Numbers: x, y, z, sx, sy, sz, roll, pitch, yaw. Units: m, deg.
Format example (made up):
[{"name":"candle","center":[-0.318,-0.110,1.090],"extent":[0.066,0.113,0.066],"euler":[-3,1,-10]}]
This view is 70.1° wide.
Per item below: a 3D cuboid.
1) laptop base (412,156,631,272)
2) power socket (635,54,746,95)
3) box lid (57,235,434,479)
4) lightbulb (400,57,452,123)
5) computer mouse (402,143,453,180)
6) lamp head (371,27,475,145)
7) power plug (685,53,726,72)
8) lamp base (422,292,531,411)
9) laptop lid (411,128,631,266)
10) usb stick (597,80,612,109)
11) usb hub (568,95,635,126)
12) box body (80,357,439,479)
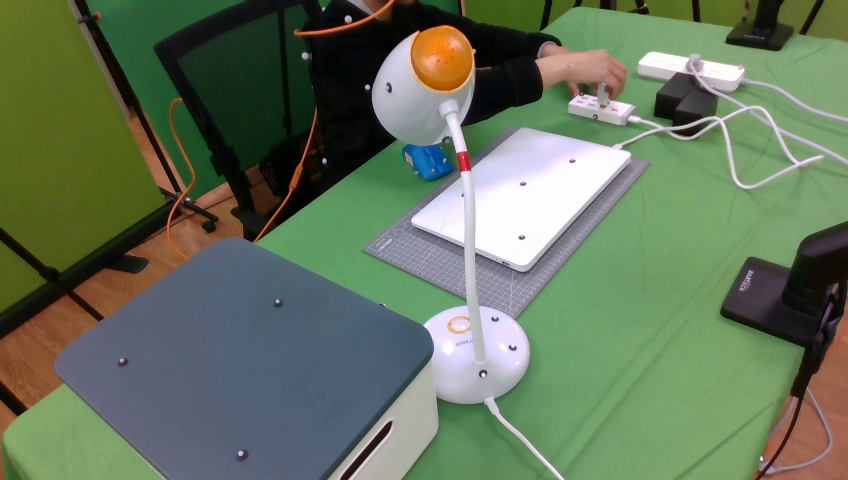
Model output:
[{"name":"laptop base","center":[0.176,-0.084,1.056],"extent":[0.233,0.023,0.355],"euler":[21,48,36]},{"name":"power socket","center":[0.565,-0.357,1.293],"extent":[0.225,0.033,0.072],"euler":[24,51,33]},{"name":"box lid","center":[-0.198,0.123,0.653],"extent":[0.368,0.015,0.264],"euler":[22,49,32]},{"name":"lightbulb","center":[0.004,-0.169,0.669],"extent":[0.059,0.108,0.059],"euler":[1,79,-3]},{"name":"computer mouse","center":[0.006,-0.159,1.165],"extent":[0.063,0.041,0.116],"euler":[-21,45,-16]},{"name":"lamp head","center":[0.007,-0.167,0.644],"extent":[0.113,0.112,0.122],"euler":[-22,2,-14]},{"name":"power plug","center":[0.584,-0.361,1.261],"extent":[0.072,0.053,0.035],"euler":[14,55,16]},{"name":"lamp base","center":[0.055,0.095,0.740],"extent":[0.161,0.181,0.177],"euler":[-19,43,-11]},{"name":"laptop lid","center":[0.173,-0.093,1.049],"extent":[0.239,0.013,0.358],"euler":[24,50,36]},{"name":"usb stick","center":[0.359,-0.285,1.200],"extent":[0.021,0.059,0.027],"euler":[21,48,34]},{"name":"usb hub","center":[0.360,-0.263,1.228],"extent":[0.124,0.025,0.049],"euler":[24,49,33]},{"name":"box body","center":[-0.189,0.178,0.702],"extent":[0.361,0.161,0.255],"euler":[22,49,32]}]
